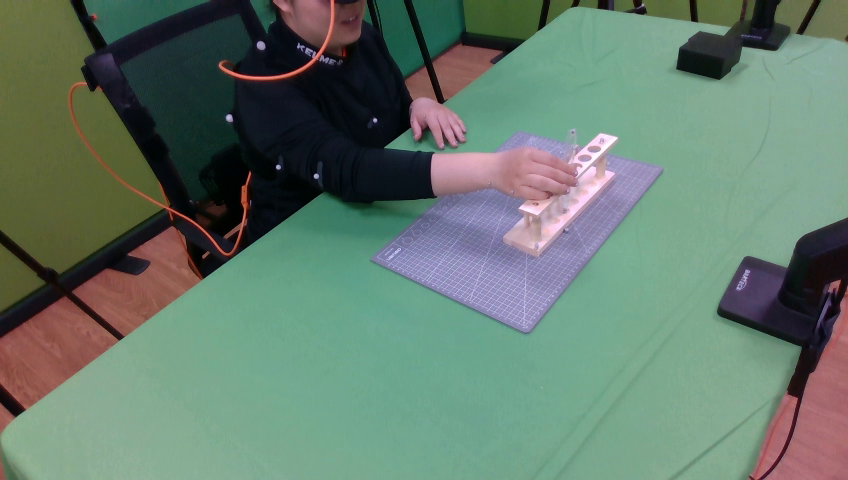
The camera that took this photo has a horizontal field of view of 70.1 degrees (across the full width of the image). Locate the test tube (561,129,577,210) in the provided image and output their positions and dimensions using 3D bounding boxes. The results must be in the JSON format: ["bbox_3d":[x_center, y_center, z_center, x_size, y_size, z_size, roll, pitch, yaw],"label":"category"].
[{"bbox_3d":[0.223,-0.105,0.934,0.017,0.151,0.017,-4,44,4],"label":"test tube"}]

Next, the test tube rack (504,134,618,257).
[{"bbox_3d":[0.225,-0.083,0.985,0.066,0.085,0.243,25,51,34],"label":"test tube rack"}]
